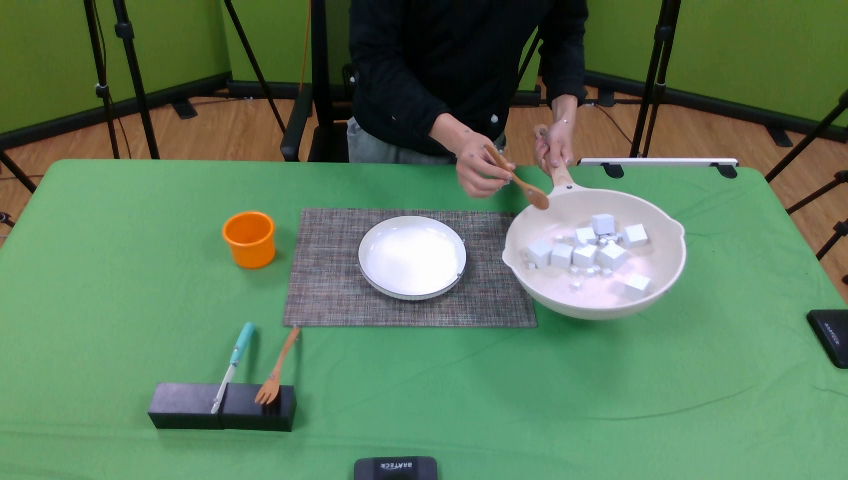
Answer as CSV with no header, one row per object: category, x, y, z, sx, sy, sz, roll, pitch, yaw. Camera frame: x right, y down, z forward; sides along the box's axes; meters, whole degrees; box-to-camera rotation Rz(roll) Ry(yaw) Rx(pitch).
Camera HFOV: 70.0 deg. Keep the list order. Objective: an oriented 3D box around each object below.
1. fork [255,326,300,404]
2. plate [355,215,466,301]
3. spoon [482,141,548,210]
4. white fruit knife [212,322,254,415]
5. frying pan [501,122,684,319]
fork,-0.226,0.192,0.955,0.028,0.019,0.206,0,27,4
plate,-0.025,0.038,1.143,0.208,0.039,0.206,3,46,-3
spoon,0.152,-0.105,1.007,0.041,0.195,0.021,3,66,43
white fruit knife,-0.298,0.193,0.947,0.016,0.027,0.206,2,31,-1
frying pan,0.272,-0.056,1.105,0.307,0.103,0.484,-9,51,0
